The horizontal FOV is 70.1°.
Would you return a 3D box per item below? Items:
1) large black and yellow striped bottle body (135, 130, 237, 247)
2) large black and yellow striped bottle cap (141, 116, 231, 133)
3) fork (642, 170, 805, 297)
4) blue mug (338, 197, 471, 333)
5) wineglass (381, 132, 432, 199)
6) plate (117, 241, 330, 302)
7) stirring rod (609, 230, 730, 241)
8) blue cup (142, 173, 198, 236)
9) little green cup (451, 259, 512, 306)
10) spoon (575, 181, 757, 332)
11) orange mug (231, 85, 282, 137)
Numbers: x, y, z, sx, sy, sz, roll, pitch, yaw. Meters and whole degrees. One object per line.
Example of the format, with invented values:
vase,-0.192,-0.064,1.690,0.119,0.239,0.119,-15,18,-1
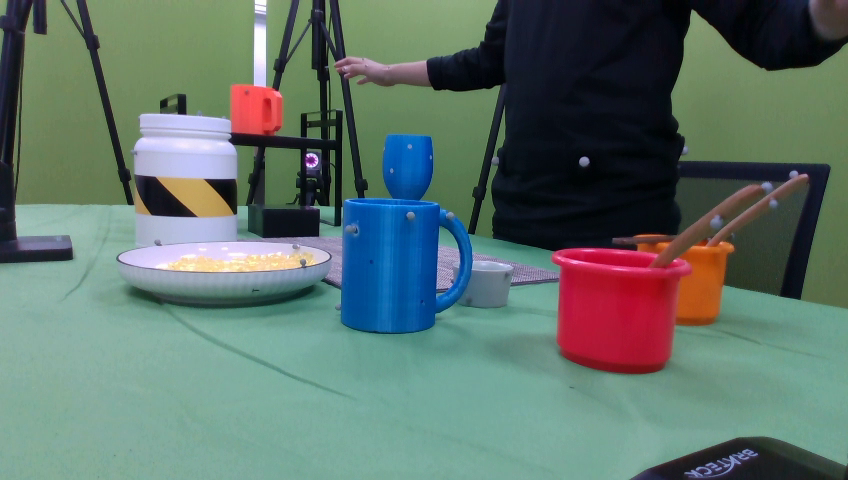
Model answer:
large black and yellow striped bottle body,-0.327,-0.074,0.838,0.131,0.184,0.130,2,7,0
large black and yellow striped bottle cap,-0.324,-0.157,0.826,0.115,0.019,0.115,1,7,0
fork,0.261,0.004,0.545,0.028,0.018,0.207,5,-38,-15
blue mug,-0.016,0.018,0.523,0.117,0.106,0.082,1,7,-13
wineglass,-0.026,-0.062,0.841,0.074,0.172,0.073,2,7,0
plate,-0.203,0.031,0.629,0.209,0.038,0.209,3,7,0
stirring rod,0.241,-0.005,0.582,0.177,0.006,0.014,-3,9,-34
blue cup,-0.425,-0.060,1.014,0.093,0.100,0.092,4,9,0
little green cup,0.057,0.043,0.611,0.061,0.038,0.061,3,7,0
spoon,0.156,0.020,0.412,0.042,0.021,0.193,1,-36,-16
orange mug,-0.335,-0.261,1.225,0.125,0.100,0.084,2,6,35
